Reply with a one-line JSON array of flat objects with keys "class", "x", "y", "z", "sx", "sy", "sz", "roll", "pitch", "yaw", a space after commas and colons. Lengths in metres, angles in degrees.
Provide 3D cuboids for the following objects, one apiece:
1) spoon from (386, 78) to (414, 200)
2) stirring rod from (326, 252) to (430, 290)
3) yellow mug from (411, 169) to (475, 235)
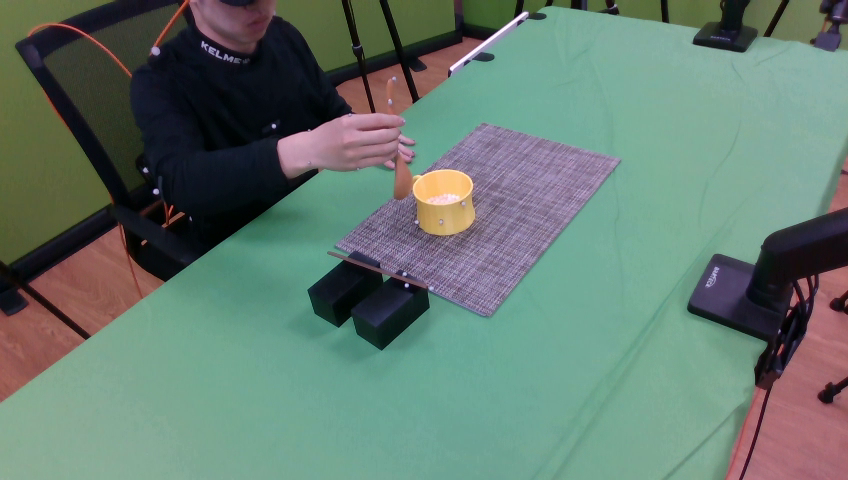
[{"class": "spoon", "x": -0.041, "y": -0.142, "z": 0.883, "sx": 0.042, "sy": 0.194, "sz": 0.021, "roll": -32, "pitch": 40, "yaw": -30}, {"class": "stirring rod", "x": -0.068, "y": 0.043, "z": 0.859, "sx": 0.175, "sy": 0.006, "sz": 0.014, "roll": 17, "pitch": 11, "yaw": 26}, {"class": "yellow mug", "x": 0.022, "y": -0.070, "z": 1.007, "sx": 0.129, "sy": 0.064, "sz": 0.100, "roll": 29, "pitch": 52, "yaw": 36}]
